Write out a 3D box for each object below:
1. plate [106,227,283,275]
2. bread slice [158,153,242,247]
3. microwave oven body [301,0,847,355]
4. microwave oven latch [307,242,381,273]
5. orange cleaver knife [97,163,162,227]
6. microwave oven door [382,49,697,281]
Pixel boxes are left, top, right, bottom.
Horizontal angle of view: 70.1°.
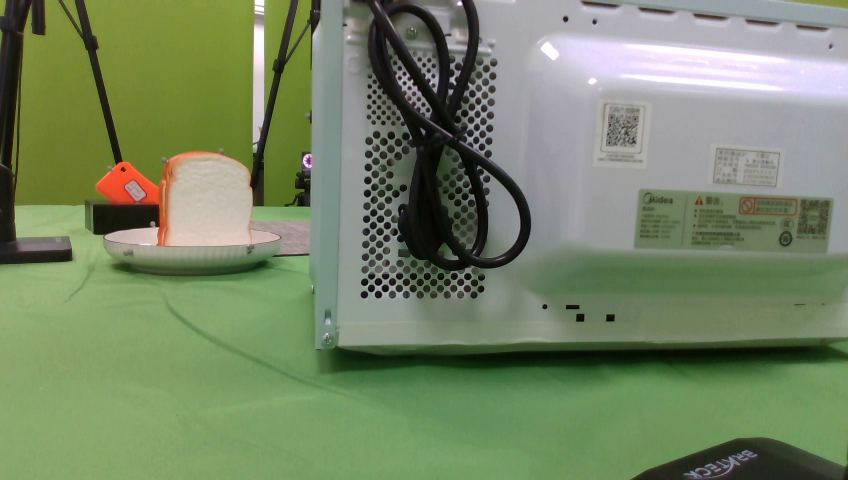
[{"bbox_3d":[-0.288,0.013,0.772,0.208,0.039,0.207,2,7,0],"label":"plate"},{"bbox_3d":[-0.287,-0.045,0.787,0.107,0.134,0.018,2,8,-35],"label":"bread slice"},{"bbox_3d":[0.120,-0.053,0.535,0.443,0.260,0.325,2,7,-11],"label":"microwave oven body"},{"bbox_3d":[-0.086,0.019,0.656,0.079,0.029,0.030,2,7,-10],"label":"microwave oven latch"},{"bbox_3d":[-0.472,-0.062,1.087,0.212,0.077,0.012,33,-14,-36],"label":"orange cleaver knife"},{"bbox_3d":[0.135,-0.077,0.685,0.357,0.243,0.039,1,8,-12],"label":"microwave oven door"}]
